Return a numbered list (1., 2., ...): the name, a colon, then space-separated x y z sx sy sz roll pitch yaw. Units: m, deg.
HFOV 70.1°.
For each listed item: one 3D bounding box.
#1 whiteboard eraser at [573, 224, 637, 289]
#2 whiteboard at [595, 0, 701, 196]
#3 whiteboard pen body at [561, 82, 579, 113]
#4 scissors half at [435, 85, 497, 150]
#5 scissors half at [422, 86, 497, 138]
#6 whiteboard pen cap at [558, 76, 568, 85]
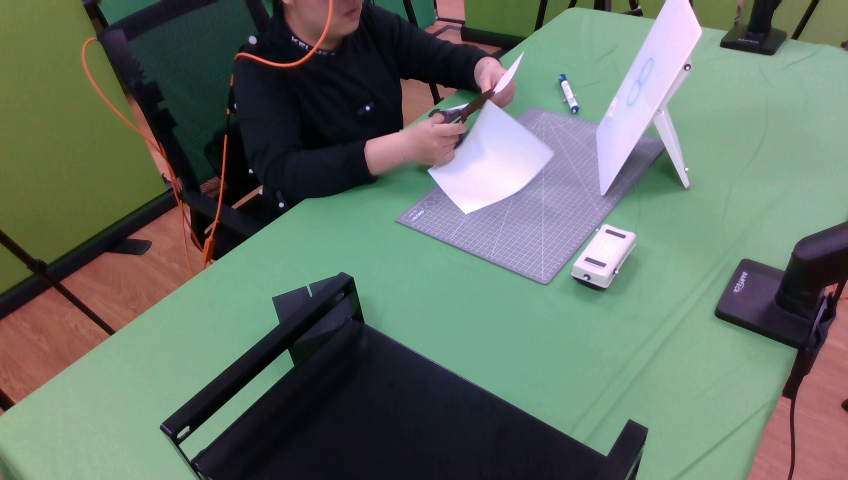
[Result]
1. whiteboard eraser: 0.267 0.025 0.891 0.055 0.042 0.113 19 47 31
2. whiteboard: 0.421 -0.227 1.010 0.144 0.305 0.216 18 42 -2
3. whiteboard pen body: 0.310 -0.311 1.298 0.017 0.017 0.140 -6 41 2
4. scissors half: 0.074 -0.211 1.054 0.040 0.174 0.013 33 47 -11
5. scissors half: 0.060 -0.224 1.048 0.174 0.040 0.013 -23 27 39
6. whiteboard pen cap: 0.310 -0.350 1.341 0.018 0.018 0.033 -6 41 2
